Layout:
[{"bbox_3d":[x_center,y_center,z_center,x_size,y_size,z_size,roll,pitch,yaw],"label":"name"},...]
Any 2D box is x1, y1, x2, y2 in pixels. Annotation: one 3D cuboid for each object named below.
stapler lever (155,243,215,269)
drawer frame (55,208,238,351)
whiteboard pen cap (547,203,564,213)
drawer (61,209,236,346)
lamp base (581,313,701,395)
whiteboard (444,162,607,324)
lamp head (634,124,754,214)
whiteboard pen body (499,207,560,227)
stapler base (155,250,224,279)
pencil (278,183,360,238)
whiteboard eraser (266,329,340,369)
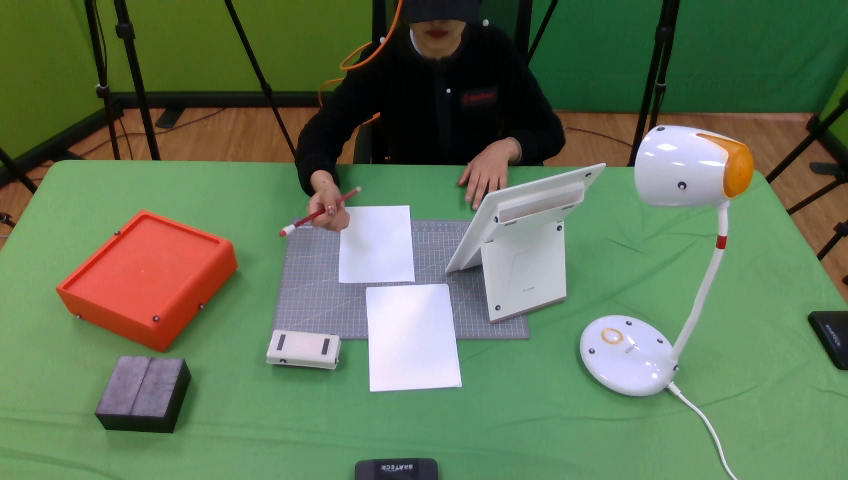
[{"bbox_3d":[-0.433,0.023,1.097,0.118,0.040,0.026,14,39,14],"label":"stapler lever"},{"bbox_3d":[-0.474,0.062,1.059,0.201,0.083,0.213,18,48,12],"label":"drawer frame"},{"bbox_3d":[0.277,-0.066,1.275,0.033,0.018,0.018,-18,50,-15],"label":"whiteboard pen cap"},{"bbox_3d":[-0.474,0.061,1.062,0.194,0.073,0.211,19,48,13],"label":"drawer"},{"bbox_3d":[0.361,0.144,0.973,0.178,0.181,0.160,34,53,23],"label":"lamp base"},{"bbox_3d":[0.186,0.025,1.029,0.217,0.306,0.143,-15,68,-18],"label":"whiteboard"},{"bbox_3d":[0.351,-0.089,0.775,0.112,0.113,0.122,-30,30,-28],"label":"lamp head"},{"bbox_3d":[0.222,-0.051,1.259,0.141,0.017,0.017,-15,49,-16],"label":"whiteboard pen body"},{"bbox_3d":[-0.431,0.040,1.111,0.130,0.024,0.041,11,38,17],"label":"stapler base"},{"bbox_3d":[-0.177,-0.055,1.053,0.012,0.012,0.194,32,49,24],"label":"pencil"},{"bbox_3d":[-0.198,0.181,0.994,0.113,0.042,0.055,5,45,1],"label":"whiteboard eraser"}]
